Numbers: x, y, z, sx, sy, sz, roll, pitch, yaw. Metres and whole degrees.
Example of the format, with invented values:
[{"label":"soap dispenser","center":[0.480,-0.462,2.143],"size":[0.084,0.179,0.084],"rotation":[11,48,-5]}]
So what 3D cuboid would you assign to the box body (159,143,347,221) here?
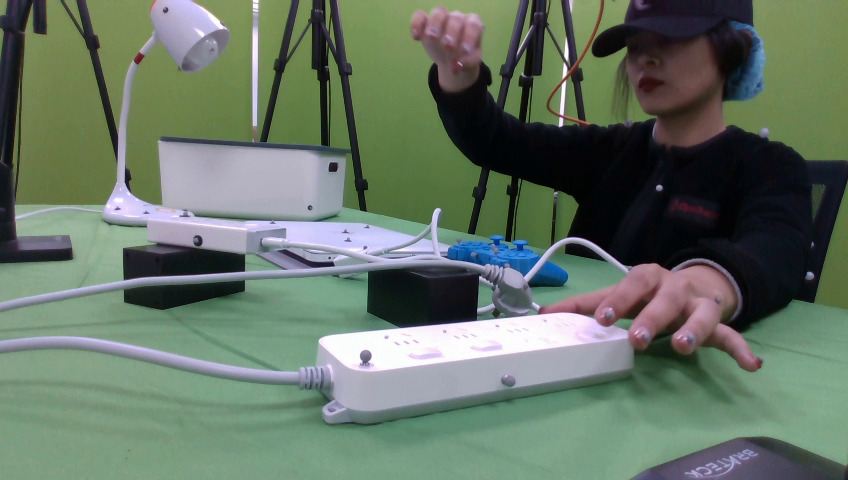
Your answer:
[{"label":"box body","center":[-0.384,-0.137,1.406],"size":[0.364,0.160,0.254],"rotation":[3,8,7]}]

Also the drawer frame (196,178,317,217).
[{"label":"drawer frame","center":[-0.376,-0.101,1.393],"size":[0.213,0.082,0.202],"rotation":[1,8,6]}]

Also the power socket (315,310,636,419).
[{"label":"power socket","center":[0.039,0.072,0.385],"size":[0.228,0.032,0.072],"rotation":[-2,7,-28]}]

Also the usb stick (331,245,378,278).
[{"label":"usb stick","center":[-0.085,0.027,0.701],"size":[0.059,0.027,0.021],"rotation":[-19,16,26]}]

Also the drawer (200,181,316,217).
[{"label":"drawer","center":[-0.372,-0.097,1.393],"size":[0.212,0.073,0.194],"rotation":[1,9,6]}]

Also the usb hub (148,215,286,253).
[{"label":"usb hub","center":[-0.197,-0.006,0.575],"size":[0.125,0.025,0.050],"rotation":[6,7,22]}]

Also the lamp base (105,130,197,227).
[{"label":"lamp base","center":[-0.532,-0.120,1.153],"size":[0.179,0.180,0.161],"rotation":[1,7,8]}]

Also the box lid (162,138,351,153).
[{"label":"box lid","center":[-0.371,-0.215,1.394],"size":[0.371,0.015,0.263],"rotation":[4,8,7]}]

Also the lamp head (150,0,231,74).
[{"label":"lamp head","center":[-0.432,-0.375,1.086],"size":[0.123,0.112,0.112],"rotation":[42,8,-3]}]

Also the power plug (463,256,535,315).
[{"label":"power plug","center":[0.064,0.039,0.530],"size":[0.072,0.052,0.035],"rotation":[31,43,7]}]

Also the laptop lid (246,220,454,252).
[{"label":"laptop lid","center":[-0.123,-0.009,0.945],"size":[0.243,0.013,0.355],"rotation":[1,7,-29]}]

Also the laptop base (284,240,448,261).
[{"label":"laptop base","center":[-0.125,0.002,0.945],"size":[0.237,0.023,0.352],"rotation":[2,6,-31]}]

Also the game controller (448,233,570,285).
[{"label":"game controller","center":[0.099,0.021,0.756],"size":[0.097,0.051,0.154],"rotation":[-7,10,-29]}]
